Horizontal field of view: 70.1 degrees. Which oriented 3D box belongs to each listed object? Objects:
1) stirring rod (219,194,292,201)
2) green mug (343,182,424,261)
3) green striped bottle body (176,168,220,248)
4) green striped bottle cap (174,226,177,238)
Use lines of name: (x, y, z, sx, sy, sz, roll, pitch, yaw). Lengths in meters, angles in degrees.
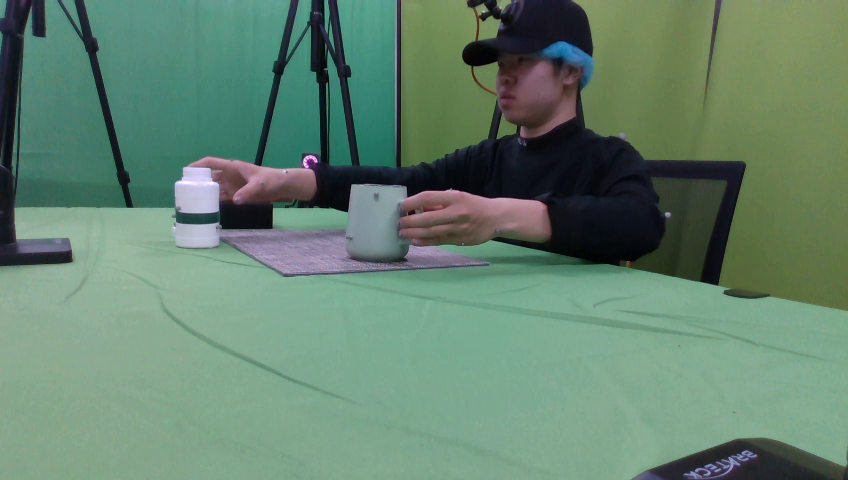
stirring rod: (-0.353, -0.086, 1.216, 0.177, 0.014, 0.006, -2, 12, -26)
green mug: (-0.053, -0.026, 0.849, 0.125, 0.105, 0.093, 7, 9, 33)
green striped bottle body: (-0.345, -0.050, 0.924, 0.063, 0.119, 0.063, 2, 7, 0)
green striped bottle cap: (-0.404, -0.015, 1.036, 0.044, 0.020, 0.044, -2, 8, 1)
